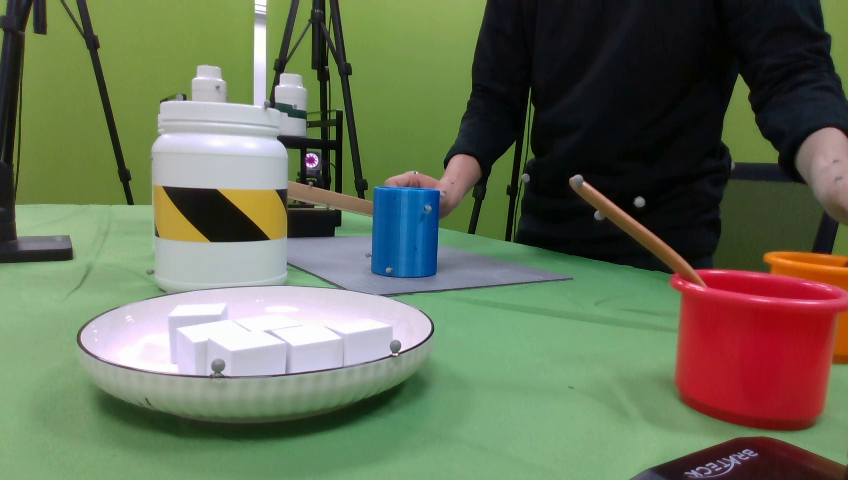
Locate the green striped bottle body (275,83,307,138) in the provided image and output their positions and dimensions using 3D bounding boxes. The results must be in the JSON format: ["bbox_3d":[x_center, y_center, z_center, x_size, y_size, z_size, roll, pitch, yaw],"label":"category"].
[{"bbox_3d":[-0.269,-0.269,1.221,0.063,0.119,0.063,2,7,0],"label":"green striped bottle body"}]

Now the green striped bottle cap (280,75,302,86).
[{"bbox_3d":[-0.267,-0.320,1.216,0.044,0.020,0.044,4,9,0],"label":"green striped bottle cap"}]

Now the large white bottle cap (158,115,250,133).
[{"bbox_3d":[-0.291,-0.153,0.803,0.115,0.018,0.115,1,7,0],"label":"large white bottle cap"}]

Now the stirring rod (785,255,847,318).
[{"bbox_3d":[0.352,0.002,0.482,0.006,0.176,0.014,43,33,23],"label":"stirring rod"}]

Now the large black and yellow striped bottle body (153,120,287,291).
[{"bbox_3d":[-0.208,-0.042,0.626,0.131,0.184,0.130,2,7,0],"label":"large black and yellow striped bottle body"}]

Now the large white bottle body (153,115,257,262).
[{"bbox_3d":[-0.293,-0.070,0.813,0.131,0.184,0.130,2,7,0],"label":"large white bottle body"}]

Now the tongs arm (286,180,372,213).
[{"bbox_3d":[-0.122,-0.066,1.147,0.387,0.026,0.050,11,-2,-37],"label":"tongs arm"}]

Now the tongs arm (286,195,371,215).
[{"bbox_3d":[-0.165,-0.075,1.216,0.389,0.027,0.028,11,-6,-24],"label":"tongs arm"}]

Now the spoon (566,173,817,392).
[{"bbox_3d":[0.161,0.024,0.370,0.193,0.021,0.042,47,17,3],"label":"spoon"}]

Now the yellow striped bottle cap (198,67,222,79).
[{"bbox_3d":[-0.412,-0.320,1.162,0.044,0.018,0.044,1,5,0],"label":"yellow striped bottle cap"}]

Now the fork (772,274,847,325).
[{"bbox_3d":[0.333,0.018,0.444,0.028,0.018,0.207,4,-37,-12],"label":"fork"}]

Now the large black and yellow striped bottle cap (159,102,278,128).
[{"bbox_3d":[-0.207,-0.125,0.615,0.115,0.019,0.115,2,6,0],"label":"large black and yellow striped bottle cap"}]

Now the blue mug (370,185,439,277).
[{"bbox_3d":[-0.025,-0.015,0.760,0.082,0.106,0.116,1,7,-3],"label":"blue mug"}]

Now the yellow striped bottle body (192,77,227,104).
[{"bbox_3d":[-0.414,-0.268,1.169,0.063,0.120,0.063,2,7,0],"label":"yellow striped bottle body"}]

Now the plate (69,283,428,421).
[{"bbox_3d":[-0.102,0.066,0.381,0.208,0.039,0.207,2,7,0],"label":"plate"}]
